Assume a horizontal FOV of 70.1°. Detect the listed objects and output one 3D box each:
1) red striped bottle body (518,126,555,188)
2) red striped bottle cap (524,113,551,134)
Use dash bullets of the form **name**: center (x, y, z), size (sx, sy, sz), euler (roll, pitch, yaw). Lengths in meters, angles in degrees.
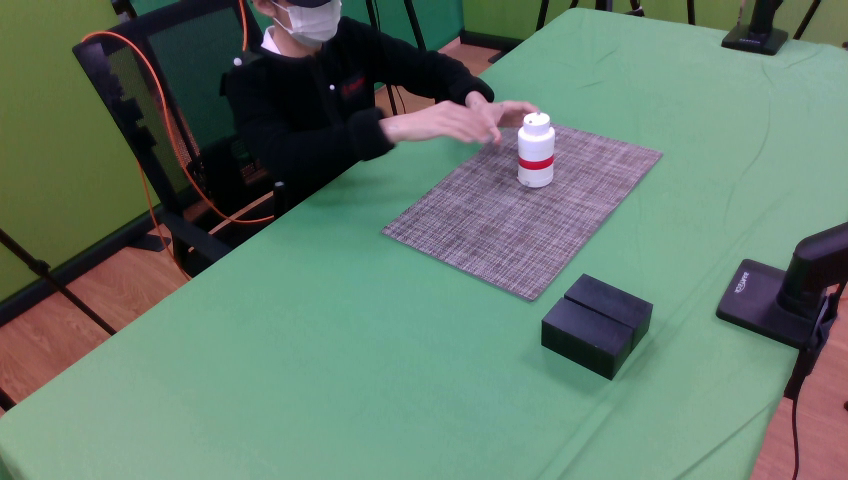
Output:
- **red striped bottle body**: center (0.195, -0.156, 1.046), size (0.063, 0.120, 0.062), euler (-5, 39, 4)
- **red striped bottle cap**: center (0.190, -0.196, 1.012), size (0.044, 0.018, 0.044), euler (-7, 38, 6)
